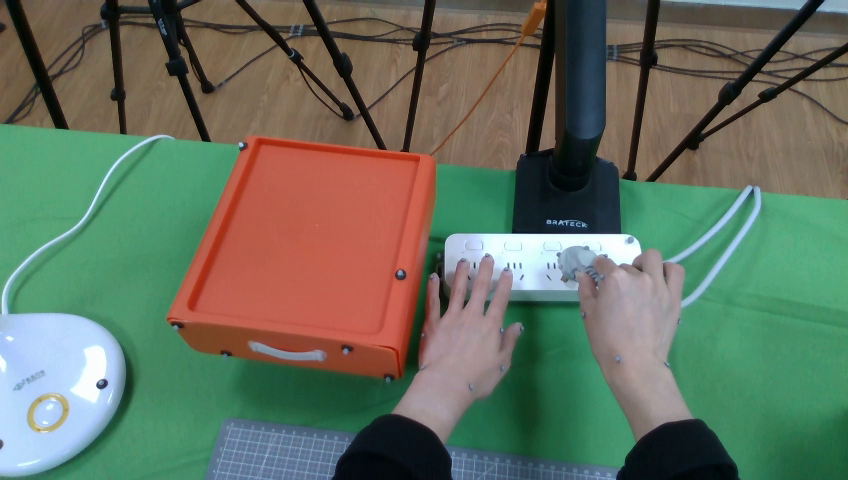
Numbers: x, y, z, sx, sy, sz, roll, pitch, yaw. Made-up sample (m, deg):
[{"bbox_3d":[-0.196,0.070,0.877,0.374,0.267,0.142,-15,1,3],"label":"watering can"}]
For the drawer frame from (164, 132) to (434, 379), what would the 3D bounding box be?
[{"bbox_3d":[-0.105,0.008,0.581,0.201,0.083,0.212,6,57,6],"label":"drawer frame"}]

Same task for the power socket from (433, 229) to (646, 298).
[{"bbox_3d":[0.122,0.025,0.646,0.227,0.033,0.071,1,58,2],"label":"power socket"}]

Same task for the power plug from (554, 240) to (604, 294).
[{"bbox_3d":[0.146,0.032,0.590,0.035,0.053,0.072,10,50,-5],"label":"power plug"}]

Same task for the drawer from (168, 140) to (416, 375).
[{"bbox_3d":[-0.104,0.010,0.580,0.194,0.074,0.210,7,57,6],"label":"drawer"}]

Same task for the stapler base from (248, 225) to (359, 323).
[{"bbox_3d":[-0.122,0.029,0.589,0.129,0.024,0.041,34,81,23],"label":"stapler base"}]

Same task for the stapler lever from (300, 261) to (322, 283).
[{"bbox_3d":[-0.130,0.020,0.565,0.117,0.040,0.027,33,81,25],"label":"stapler lever"}]

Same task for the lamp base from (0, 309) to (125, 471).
[{"bbox_3d":[-0.384,0.092,0.527,0.178,0.182,0.160,35,64,24],"label":"lamp base"}]
